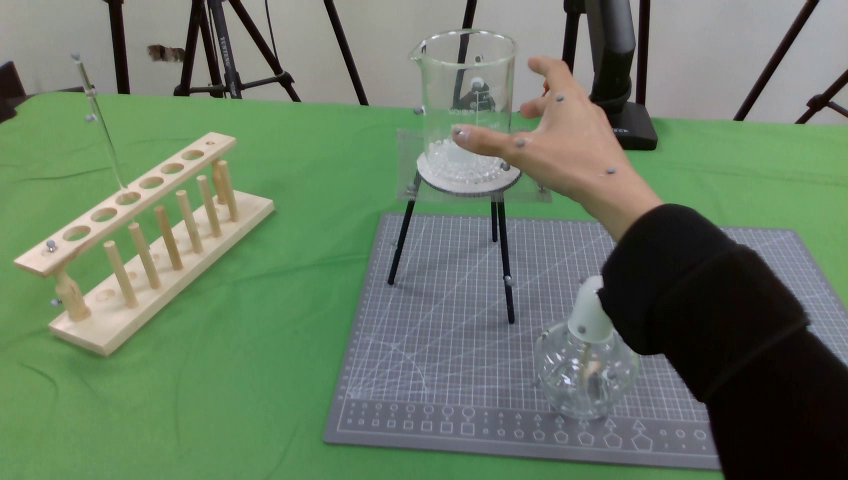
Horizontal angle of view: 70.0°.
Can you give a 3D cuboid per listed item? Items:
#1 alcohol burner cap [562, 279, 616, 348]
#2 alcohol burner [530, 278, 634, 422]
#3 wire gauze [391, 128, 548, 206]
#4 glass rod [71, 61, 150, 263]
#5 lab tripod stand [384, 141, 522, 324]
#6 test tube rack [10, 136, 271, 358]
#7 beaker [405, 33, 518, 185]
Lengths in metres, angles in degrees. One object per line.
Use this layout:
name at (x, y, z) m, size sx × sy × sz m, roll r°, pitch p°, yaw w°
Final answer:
alcohol burner cap at (0.118, 0.050, 0.427) m, size 0.034 × 0.048 × 0.033 m, roll 3°, pitch 35°, yaw -1°
alcohol burner at (0.119, 0.078, 0.449) m, size 0.078 × 0.120 × 0.077 m, roll 0°, pitch 36°, yaw 1°
wire gauze at (0.034, -0.062, 0.508) m, size 0.125 × 0.011 × 0.120 m, roll -3°, pitch 35°, yaw 2°
glass rod at (-0.282, -0.062, 0.550) m, size 0.008 × 0.201 × 0.008 m, roll -3°, pitch 31°, yaw 2°
lab tripod stand at (0.034, -0.010, 0.548) m, size 0.148 × 0.132 × 0.147 m, roll -1°, pitch 39°, yaw 1°
test tube rack at (-0.254, -0.006, 0.587) m, size 0.066 × 0.086 × 0.241 m, roll 16°, pitch 40°, yaw 19°
beaker at (0.029, -0.101, 0.478) m, size 0.084 × 0.101 × 0.073 m, roll -1°, pitch 37°, yaw 0°
